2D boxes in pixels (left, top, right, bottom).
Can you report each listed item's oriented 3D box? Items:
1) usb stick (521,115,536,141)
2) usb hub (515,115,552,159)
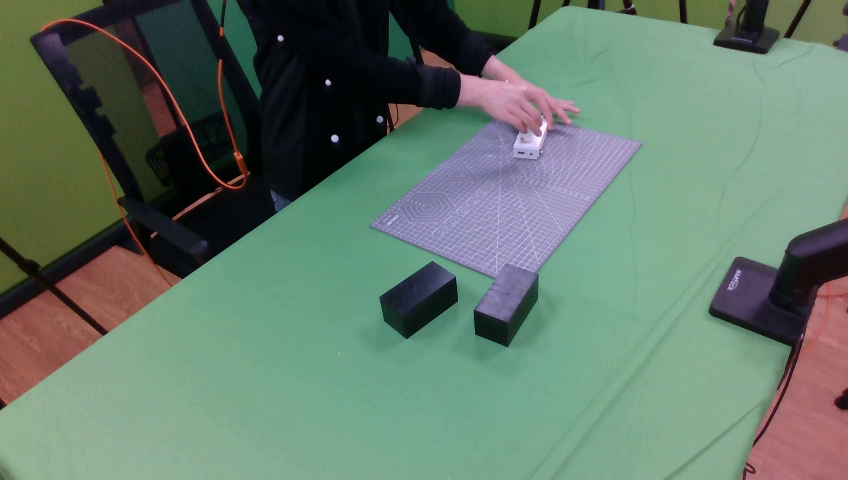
[{"bbox_3d":[0.196,-0.203,1.134,0.027,0.059,0.021,7,42,15],"label":"usb stick"},{"bbox_3d":[0.213,-0.201,1.174,0.049,0.025,0.125,10,43,18],"label":"usb hub"}]
